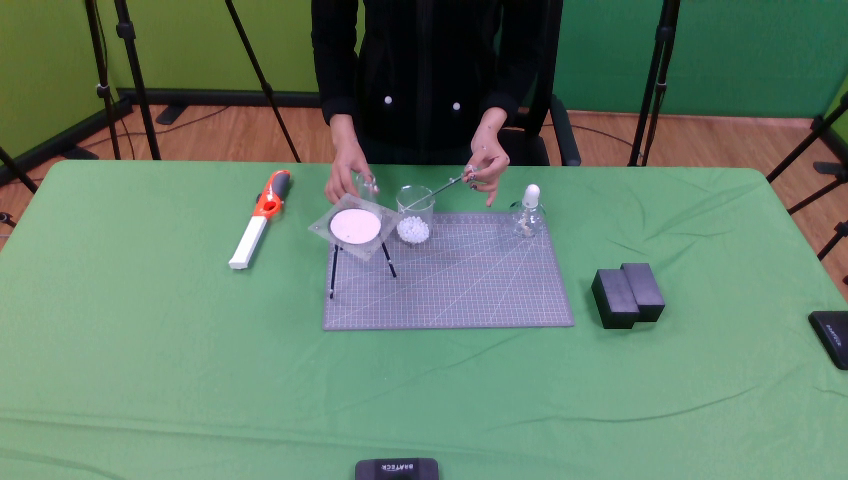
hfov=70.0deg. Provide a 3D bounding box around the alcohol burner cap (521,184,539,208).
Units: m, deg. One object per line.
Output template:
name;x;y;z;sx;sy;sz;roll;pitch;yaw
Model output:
alcohol burner cap;0.210;-0.087;1.183;0.034;0.048;0.033;1;52;-1

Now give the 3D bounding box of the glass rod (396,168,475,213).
glass rod;0.017;-0.089;1.116;0.008;0.199;0.008;25;52;-38

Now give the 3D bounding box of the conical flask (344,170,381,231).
conical flask;-0.117;-0.080;1.172;0.075;0.122;0.075;5;51;-6

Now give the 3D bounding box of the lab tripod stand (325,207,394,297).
lab tripod stand;-0.124;0.017;1.092;0.148;0.132;0.147;3;44;-3

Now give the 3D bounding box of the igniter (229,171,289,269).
igniter;-0.328;-0.049;1.218;0.057;0.025;0.275;1;45;11

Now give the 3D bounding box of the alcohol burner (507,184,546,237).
alcohol burner;0.208;-0.063;1.210;0.078;0.119;0.077;3;44;-3

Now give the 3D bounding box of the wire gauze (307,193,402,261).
wire gauze;-0.119;-0.028;1.043;0.125;0.011;0.121;24;47;17

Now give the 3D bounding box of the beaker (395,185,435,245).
beaker;-0.022;-0.048;1.187;0.074;0.101;0.083;-28;53;-28
